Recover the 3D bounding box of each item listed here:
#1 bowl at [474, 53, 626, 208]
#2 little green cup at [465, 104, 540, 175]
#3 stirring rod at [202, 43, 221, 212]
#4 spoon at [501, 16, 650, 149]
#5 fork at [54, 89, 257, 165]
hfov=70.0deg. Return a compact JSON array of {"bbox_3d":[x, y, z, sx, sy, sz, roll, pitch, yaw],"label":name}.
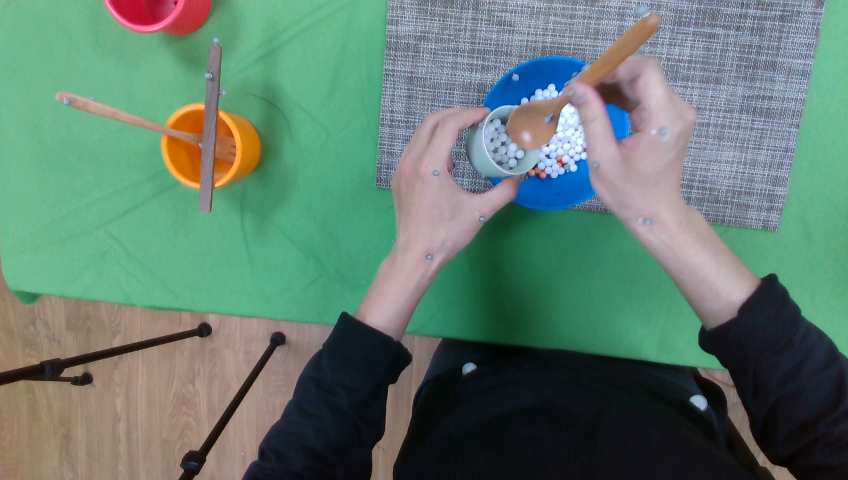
[{"bbox_3d":[0.128,-0.113,0.635,0.151,0.076,0.152,1,101,7],"label":"bowl"},{"bbox_3d":[0.068,-0.087,0.538,0.062,0.038,0.061,3,85,-29],"label":"little green cup"},{"bbox_3d":[-0.225,-0.117,0.642,0.014,0.006,0.176,8,102,7],"label":"stirring rod"},{"bbox_3d":[0.107,-0.110,0.454,0.042,0.193,0.021,42,73,-5],"label":"spoon"},{"bbox_3d":[-0.278,-0.120,0.651,0.209,0.018,0.028,15,109,-40],"label":"fork"}]
